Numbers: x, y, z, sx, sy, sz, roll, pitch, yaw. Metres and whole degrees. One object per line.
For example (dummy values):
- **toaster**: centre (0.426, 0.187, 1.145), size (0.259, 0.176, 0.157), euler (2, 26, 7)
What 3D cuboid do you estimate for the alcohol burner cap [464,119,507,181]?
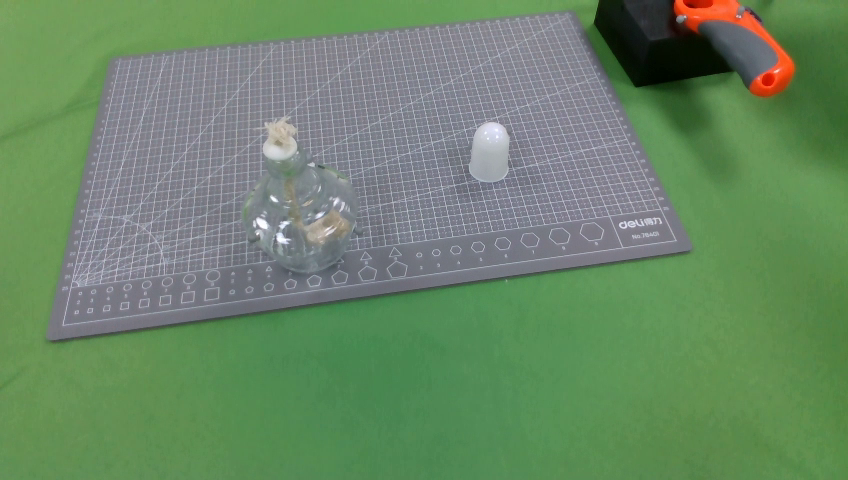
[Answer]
- **alcohol burner cap**: centre (0.049, -0.073, 0.470), size (0.034, 0.048, 0.033), euler (1, 54, -1)

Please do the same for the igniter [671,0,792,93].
- **igniter**: centre (0.233, -0.219, 0.527), size (0.057, 0.025, 0.273), euler (-12, 53, -5)

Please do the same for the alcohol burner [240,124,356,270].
- **alcohol burner**: centre (-0.086, -0.032, 0.398), size (0.078, 0.120, 0.077), euler (0, 56, 1)
